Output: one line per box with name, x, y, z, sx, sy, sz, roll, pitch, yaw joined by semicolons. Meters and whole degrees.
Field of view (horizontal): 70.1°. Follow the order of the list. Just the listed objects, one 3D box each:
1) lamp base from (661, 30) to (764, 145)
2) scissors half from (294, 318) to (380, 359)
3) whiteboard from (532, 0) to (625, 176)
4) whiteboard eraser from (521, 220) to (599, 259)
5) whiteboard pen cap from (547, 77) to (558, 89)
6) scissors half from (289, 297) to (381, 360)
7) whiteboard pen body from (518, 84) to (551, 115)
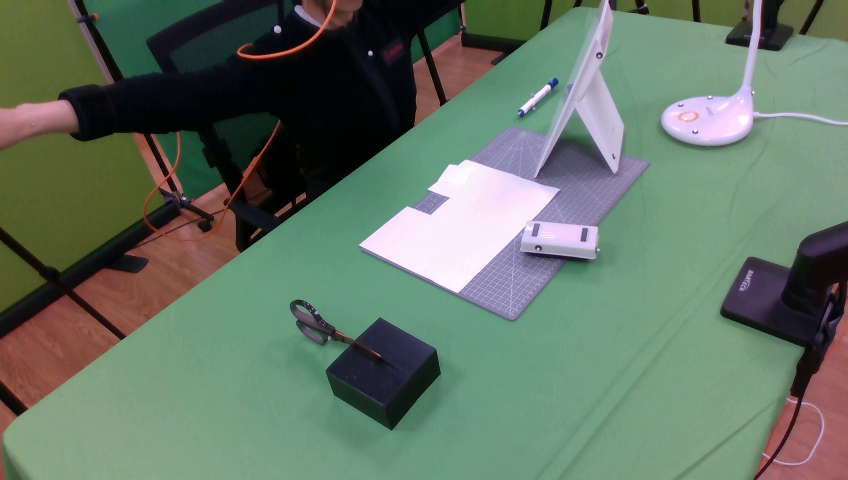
lamp base;0.535;-0.287;1.096;0.179;0.181;0.159;-10;40;-4
scissors half;-0.118;0.135;0.809;0.173;0.040;0.013;9;38;44
whiteboard;0.320;-0.259;1.050;0.144;0.306;0.217;21;45;5
whiteboard eraser;0.208;0.001;0.922;0.112;0.042;0.055;6;41;17
whiteboard pen cap;0.279;-0.341;1.321;0.018;0.018;0.033;22;51;31
scissors half;-0.120;0.117;0.798;0.174;0.040;0.013;27;43;31
whiteboard pen body;0.242;-0.306;1.289;0.017;0.017;0.141;24;52;33
